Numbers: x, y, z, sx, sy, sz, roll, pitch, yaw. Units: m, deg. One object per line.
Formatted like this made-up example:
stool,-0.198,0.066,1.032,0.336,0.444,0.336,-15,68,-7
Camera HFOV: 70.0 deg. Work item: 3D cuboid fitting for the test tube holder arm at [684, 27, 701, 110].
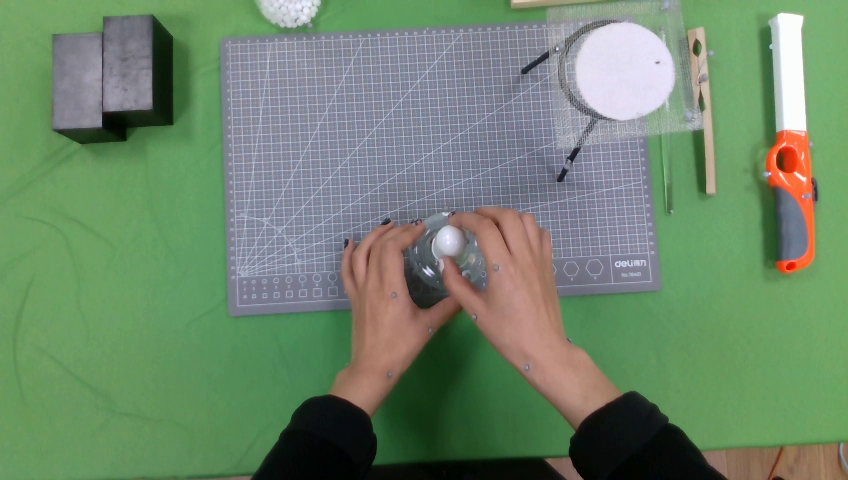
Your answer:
test tube holder arm,0.291,-0.184,0.653,0.010,0.015,0.087,-8,83,37

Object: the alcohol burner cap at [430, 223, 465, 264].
alcohol burner cap,0.023,0.000,0.544,0.034,0.048,0.033,1,75,-3

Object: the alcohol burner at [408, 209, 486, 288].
alcohol burner,0.022,0.006,0.580,0.078,0.119,0.077,0,81,0

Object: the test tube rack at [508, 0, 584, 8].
test tube rack,0.210,-0.305,0.629,0.242,0.085,0.066,-6,84,-1

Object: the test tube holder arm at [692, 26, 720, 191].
test tube holder arm,0.299,-0.141,0.645,0.013,0.015,0.178,-10,82,37

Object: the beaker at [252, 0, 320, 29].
beaker,-0.150,-0.268,0.615,0.084,0.100,0.074,15,83,2

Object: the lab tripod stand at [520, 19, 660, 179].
lab tripod stand,0.156,-0.143,0.586,0.148,0.132,0.148,0,84,2

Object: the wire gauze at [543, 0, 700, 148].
wire gauze,0.166,-0.146,0.519,0.121,0.011,0.124,-5,84,1

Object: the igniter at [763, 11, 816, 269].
igniter,0.384,-0.107,0.640,0.057,0.025,0.276,3,84,-10

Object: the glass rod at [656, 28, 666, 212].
glass rod,0.255,-0.130,0.651,0.008,0.008,0.199,0,87,-1
